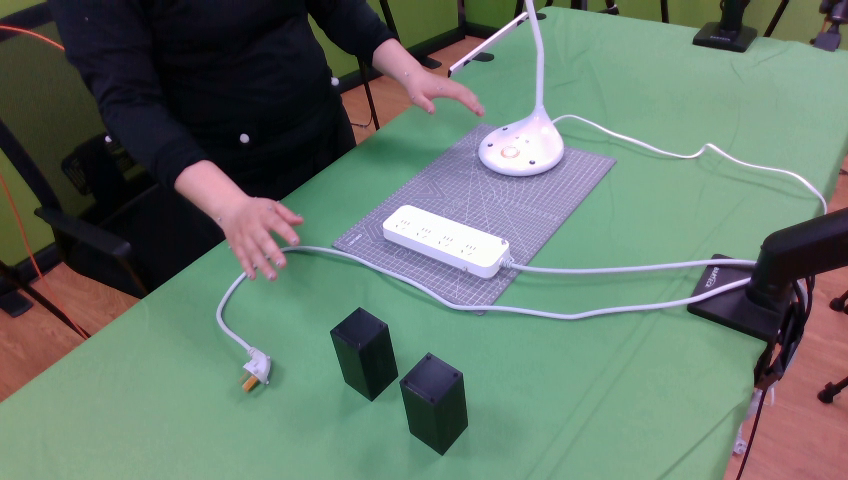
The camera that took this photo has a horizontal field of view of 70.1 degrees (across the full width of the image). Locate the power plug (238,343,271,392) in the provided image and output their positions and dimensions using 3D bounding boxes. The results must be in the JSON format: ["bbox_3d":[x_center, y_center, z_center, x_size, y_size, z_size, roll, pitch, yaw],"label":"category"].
[{"bbox_3d":[-0.230,0.172,0.800,0.072,0.035,0.053,9,50,49],"label":"power plug"}]

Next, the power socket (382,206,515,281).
[{"bbox_3d":[0.032,0.002,0.950,0.225,0.033,0.072,21,49,29],"label":"power socket"}]

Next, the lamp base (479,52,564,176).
[{"bbox_3d":[0.181,-0.235,1.093,0.159,0.181,0.179,18,44,27],"label":"lamp base"}]
